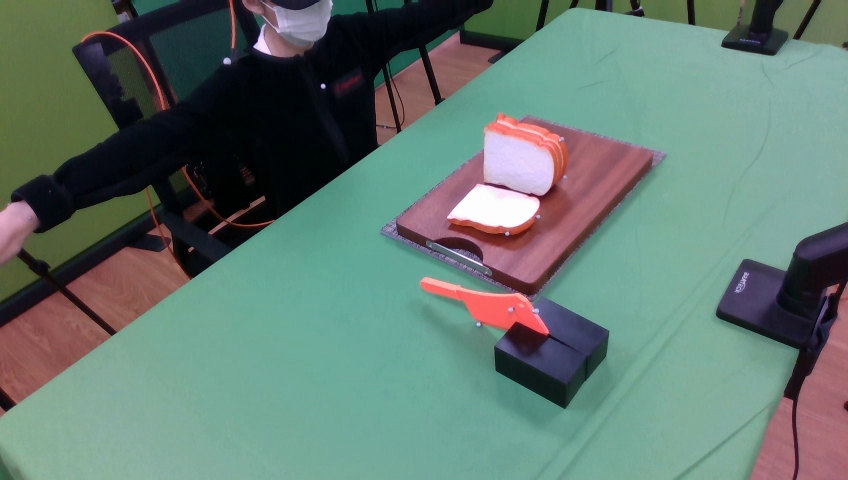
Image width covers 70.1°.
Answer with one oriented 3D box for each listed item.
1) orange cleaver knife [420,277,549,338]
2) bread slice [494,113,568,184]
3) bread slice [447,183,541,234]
[{"bbox_3d":[0.076,0.089,0.813,0.209,0.077,0.012,9,43,47],"label":"orange cleaver knife"},{"bbox_3d":[0.176,-0.145,1.015,0.133,0.107,0.018,26,50,23],"label":"bread slice"},{"bbox_3d":[0.117,-0.047,0.964,0.130,0.019,0.105,17,44,31],"label":"bread slice"}]
